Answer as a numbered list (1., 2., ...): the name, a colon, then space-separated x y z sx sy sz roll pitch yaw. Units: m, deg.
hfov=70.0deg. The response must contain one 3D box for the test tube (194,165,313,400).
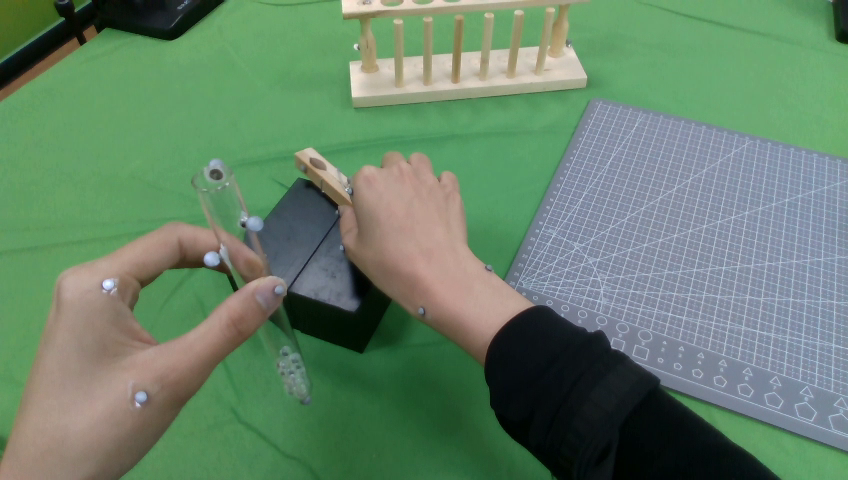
1. test tube: -0.072 0.029 0.276 0.017 0.151 0.017 -3 44 3

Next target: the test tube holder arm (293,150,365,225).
1. test tube holder arm: -0.070 -0.040 0.456 0.010 0.015 0.087 -34 58 -29

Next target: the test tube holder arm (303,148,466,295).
1. test tube holder arm: -0.034 -0.018 0.438 0.013 0.015 0.177 -35 58 -30

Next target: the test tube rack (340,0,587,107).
1. test tube rack: 0.041 -0.199 0.614 0.242 0.086 0.066 -6 49 -4
